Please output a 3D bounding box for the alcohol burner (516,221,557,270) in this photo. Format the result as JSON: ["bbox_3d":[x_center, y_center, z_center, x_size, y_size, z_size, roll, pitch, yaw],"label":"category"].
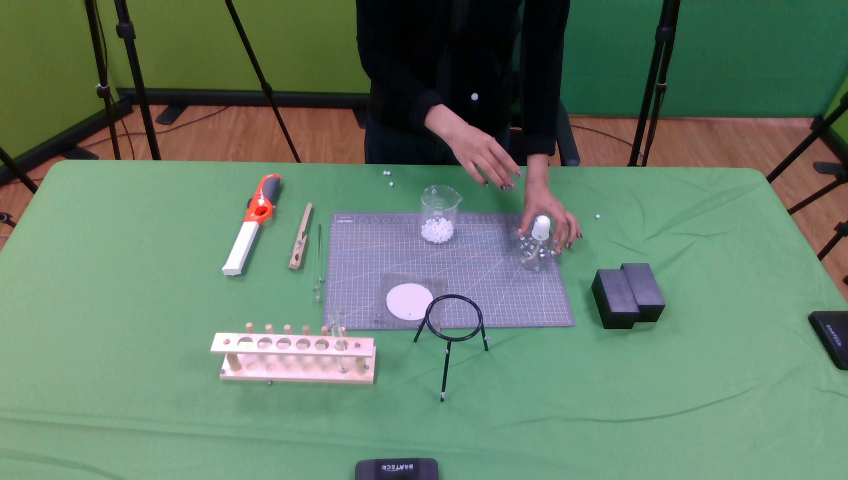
[{"bbox_3d":[0.217,0.001,1.149,0.078,0.119,0.077,4,46,-4],"label":"alcohol burner"}]

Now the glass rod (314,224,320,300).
[{"bbox_3d":[-0.203,0.038,1.156,0.008,0.008,0.198,-2,44,-6],"label":"glass rod"}]

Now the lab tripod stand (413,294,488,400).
[{"bbox_3d":[0.044,0.159,0.972,0.148,0.132,0.147,2,44,-2],"label":"lab tripod stand"}]

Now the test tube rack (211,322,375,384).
[{"bbox_3d":[-0.202,0.176,0.969,0.242,0.085,0.066,3,46,-2],"label":"test tube rack"}]

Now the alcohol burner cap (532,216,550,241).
[{"bbox_3d":[0.218,-0.023,1.122,0.034,0.048,0.033,-1,50,1],"label":"alcohol burner cap"}]

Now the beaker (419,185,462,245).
[{"bbox_3d":[0.029,-0.047,1.191,0.084,0.101,0.073,-5,47,-10],"label":"beaker"}]

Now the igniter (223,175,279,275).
[{"bbox_3d":[-0.341,-0.039,1.206,0.057,0.025,0.275,-1,45,8],"label":"igniter"}]

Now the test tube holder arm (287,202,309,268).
[{"bbox_3d":[-0.246,-0.013,1.193,0.013,0.015,0.177,29,39,-26],"label":"test tube holder arm"}]

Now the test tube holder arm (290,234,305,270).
[{"bbox_3d":[-0.243,0.021,1.164,0.010,0.015,0.087,29,39,-25],"label":"test tube holder arm"}]

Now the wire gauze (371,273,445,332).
[{"bbox_3d":[-0.028,0.108,1.100,0.125,0.011,0.121,7,45,4],"label":"wire gauze"}]

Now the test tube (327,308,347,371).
[{"bbox_3d":[-0.132,0.155,0.926,0.017,0.151,0.017,0,45,0],"label":"test tube"}]
